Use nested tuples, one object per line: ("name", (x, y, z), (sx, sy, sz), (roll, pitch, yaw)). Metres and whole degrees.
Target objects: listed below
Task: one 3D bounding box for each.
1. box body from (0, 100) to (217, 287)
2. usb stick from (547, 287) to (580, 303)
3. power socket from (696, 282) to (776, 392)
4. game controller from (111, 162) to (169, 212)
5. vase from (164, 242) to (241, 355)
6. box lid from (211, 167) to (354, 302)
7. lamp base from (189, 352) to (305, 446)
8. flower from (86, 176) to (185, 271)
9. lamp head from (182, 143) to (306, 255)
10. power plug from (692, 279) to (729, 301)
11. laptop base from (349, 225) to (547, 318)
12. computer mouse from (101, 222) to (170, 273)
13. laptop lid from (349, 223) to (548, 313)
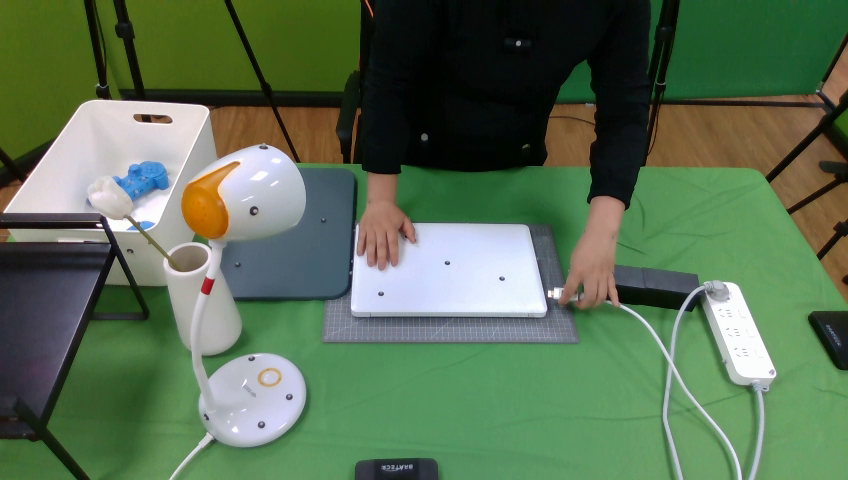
("box body", (-0.559, -0.092, 1.144), (0.254, 0.161, 0.361), (3, 46, -2))
("usb stick", (0.249, 0.099, 1.091), (0.059, 0.027, 0.021), (5, 78, 24))
("power socket", (0.551, 0.161, 1.078), (0.072, 0.033, 0.225), (2, 46, -1))
("game controller", (-0.597, -0.113, 1.234), (0.097, 0.052, 0.155), (29, 52, 20))
("vase", (-0.349, 0.096, 0.953), (0.098, 0.201, 0.097), (3, 47, -3))
("box lid", (-0.276, -0.023, 1.205), (0.263, 0.015, 0.369), (0, 46, -4))
("lamp base", (-0.268, 0.197, 0.876), (0.160, 0.181, 0.179), (26, 52, 20))
("flower", (-0.364, 0.038, 0.894), (0.038, 0.364, 0.044), (-4, 53, 15))
("lamp head", (-0.215, -0.043, 0.696), (0.112, 0.113, 0.123), (23, 31, 17))
("power plug", (0.522, 0.091, 1.115), (0.072, 0.053, 0.035), (11, 48, 9))
("laptop base", (0.041, 0.056, 1.148), (0.355, 0.023, 0.234), (0, 42, -4))
("computer mouse", (-0.537, 0.010, 1.127), (0.062, 0.041, 0.117), (32, 54, 20))
("laptop lid", (0.042, 0.047, 1.143), (0.357, 0.013, 0.240), (2, 43, -3))
